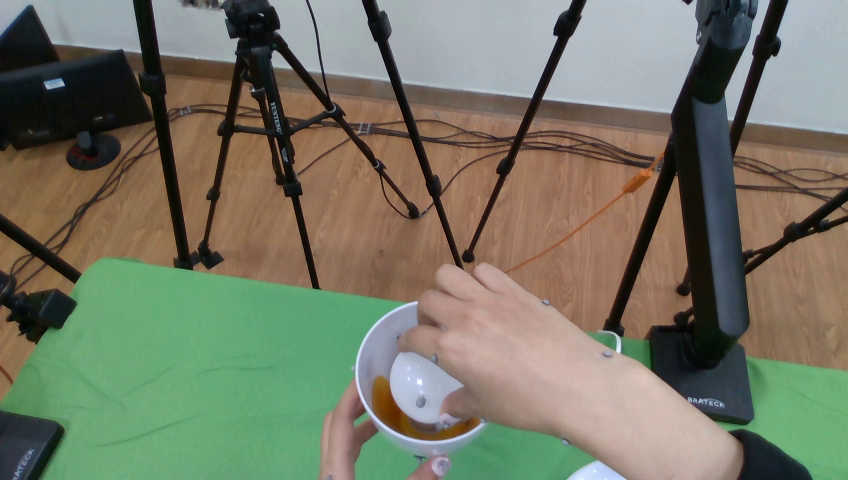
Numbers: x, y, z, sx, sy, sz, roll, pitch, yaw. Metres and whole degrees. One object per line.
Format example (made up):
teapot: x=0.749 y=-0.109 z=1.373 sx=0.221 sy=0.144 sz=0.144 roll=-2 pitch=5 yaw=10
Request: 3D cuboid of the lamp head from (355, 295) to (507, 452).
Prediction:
lamp head: x=0.010 y=0.119 z=0.487 sx=0.112 sy=0.124 sz=0.111 roll=-3 pitch=57 yaw=5

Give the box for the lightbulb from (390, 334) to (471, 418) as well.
lightbulb: x=0.004 y=0.110 z=0.464 sx=0.059 sy=0.108 sz=0.059 roll=1 pitch=62 yaw=-1

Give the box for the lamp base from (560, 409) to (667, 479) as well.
lamp base: x=0.215 y=0.259 z=0.612 sx=0.161 sy=0.182 sz=0.177 roll=-3 pitch=50 yaw=-3
